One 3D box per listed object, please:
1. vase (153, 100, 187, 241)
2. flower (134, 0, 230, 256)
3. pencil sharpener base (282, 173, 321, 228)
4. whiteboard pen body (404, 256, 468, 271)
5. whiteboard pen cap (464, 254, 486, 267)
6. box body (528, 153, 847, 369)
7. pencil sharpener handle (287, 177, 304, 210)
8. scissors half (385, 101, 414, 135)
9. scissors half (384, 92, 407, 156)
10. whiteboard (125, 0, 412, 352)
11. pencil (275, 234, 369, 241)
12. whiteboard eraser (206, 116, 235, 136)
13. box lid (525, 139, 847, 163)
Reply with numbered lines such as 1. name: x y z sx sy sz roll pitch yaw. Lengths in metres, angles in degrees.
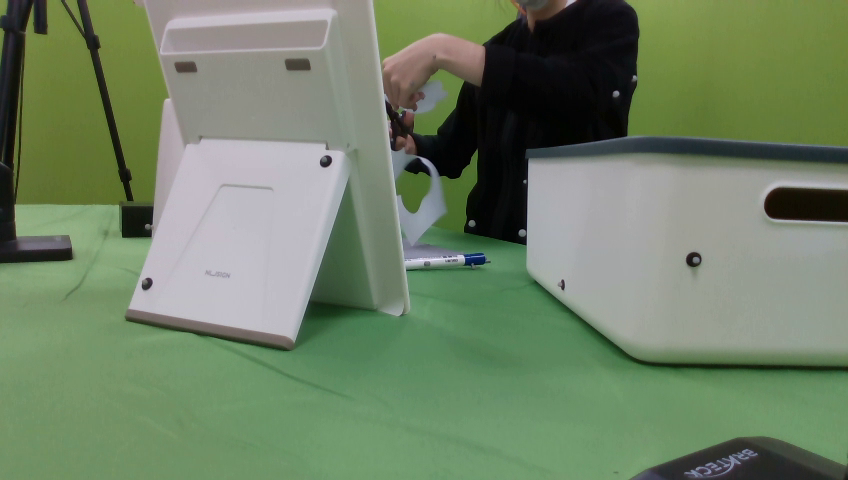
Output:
1. vase: -0.278 -0.066 0.736 0.098 0.200 0.098 2 9 0
2. flower: -0.282 -0.147 0.713 0.038 0.362 0.044 -23 24 -31
3. pencil sharpener base: -0.247 -0.080 1.212 0.061 0.107 0.076 -2 5 -28
4. whiteboard pen body: 0.013 0.030 0.792 0.141 0.017 0.017 -3 9 -24
5. whiteboard pen cap: 0.066 0.027 0.818 0.033 0.018 0.018 -5 10 -25
6. box body: 0.257 -0.005 0.591 0.254 0.160 0.363 2 7 -4
7. pencil sharpener handle: -0.269 -0.096 1.257 0.036 0.067 0.030 -8 8 -27
8. scissors half: -0.049 -0.221 1.038 0.013 0.040 0.176 11 -2 19
9. scissors half: -0.056 -0.200 1.033 0.012 0.040 0.175 16 -27 20
10. whiteboard: -0.151 -0.049 0.472 0.216 0.305 0.144 6 27 24
11. pencil: -0.169 -0.006 1.036 0.195 0.012 0.012 -2 8 -45
12. whiteboard eraser: -0.450 -0.252 1.335 0.056 0.042 0.112 1 7 -22
13. box lid: 0.261 -0.078 0.580 0.264 0.015 0.371 2 7 -4
